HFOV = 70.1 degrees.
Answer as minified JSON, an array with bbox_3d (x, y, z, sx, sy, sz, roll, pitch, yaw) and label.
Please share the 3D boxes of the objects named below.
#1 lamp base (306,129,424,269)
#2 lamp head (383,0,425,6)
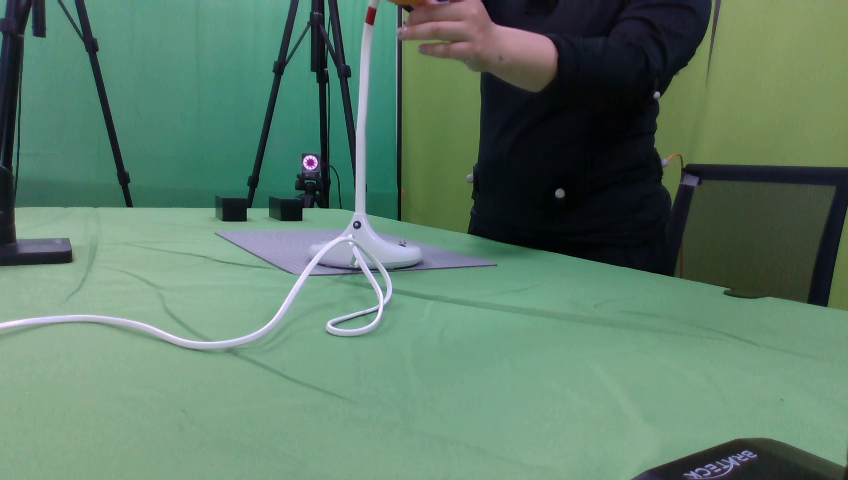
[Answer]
[{"bbox_3d":[-0.077,-0.057,0.810,0.161,0.180,0.179,2,10,-4],"label":"lamp base"},{"bbox_3d":[-0.025,-0.326,0.671,0.112,0.123,0.112,4,3,0],"label":"lamp head"}]
